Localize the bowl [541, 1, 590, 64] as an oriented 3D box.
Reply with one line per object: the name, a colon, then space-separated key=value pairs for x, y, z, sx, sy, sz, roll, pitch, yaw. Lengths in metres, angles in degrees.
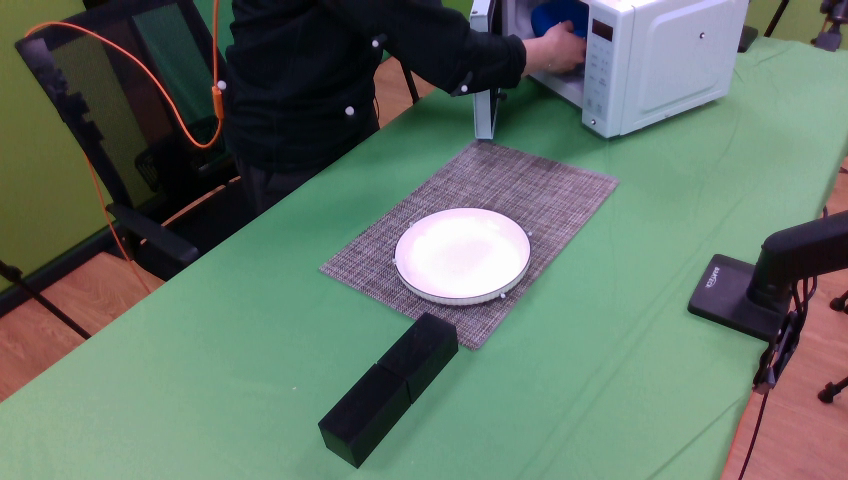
bowl: x=0.315 y=-0.419 z=1.249 sx=0.151 sy=0.077 sz=0.150 roll=-2 pitch=50 yaw=3

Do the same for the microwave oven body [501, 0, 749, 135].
microwave oven body: x=0.382 y=-0.444 z=1.246 sx=0.327 sy=0.261 sz=0.437 roll=-22 pitch=42 yaw=-16

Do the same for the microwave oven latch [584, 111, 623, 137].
microwave oven latch: x=0.337 y=-0.222 z=1.142 sx=0.030 sy=0.029 sz=0.078 roll=-21 pitch=42 yaw=-14

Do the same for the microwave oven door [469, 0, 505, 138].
microwave oven door: x=0.133 y=-0.403 z=1.225 sx=0.039 sy=0.245 sz=0.354 roll=1 pitch=41 yaw=11

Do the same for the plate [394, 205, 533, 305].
plate: x=0.059 y=0.025 z=0.915 sx=0.207 sy=0.039 sz=0.206 roll=-4 pitch=41 yaw=4
